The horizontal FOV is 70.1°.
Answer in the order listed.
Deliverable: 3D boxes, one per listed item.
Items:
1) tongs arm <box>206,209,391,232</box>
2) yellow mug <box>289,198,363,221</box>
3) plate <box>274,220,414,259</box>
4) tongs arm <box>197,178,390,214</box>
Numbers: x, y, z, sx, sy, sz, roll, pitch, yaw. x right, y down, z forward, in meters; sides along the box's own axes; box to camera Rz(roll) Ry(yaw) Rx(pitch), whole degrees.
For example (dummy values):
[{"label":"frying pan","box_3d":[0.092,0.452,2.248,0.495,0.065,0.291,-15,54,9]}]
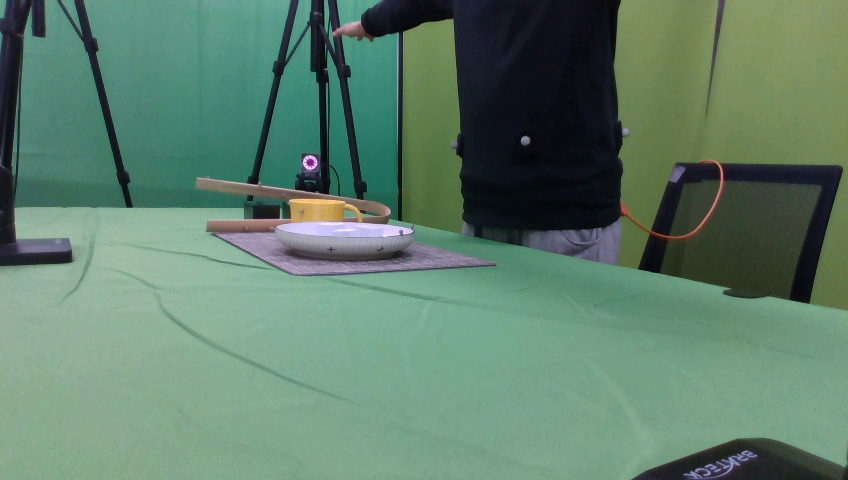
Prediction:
[{"label":"tongs arm","box_3d":[-0.224,-0.037,1.170,0.390,0.028,0.028,-4,31,-36]},{"label":"yellow mug","box_3d":[-0.174,-0.039,1.072,0.131,0.064,0.100,3,7,0]},{"label":"plate","box_3d":[-0.118,-0.001,0.903,0.208,0.039,0.207,3,7,0]},{"label":"tongs arm","box_3d":[-0.256,-0.083,1.229,0.387,0.026,0.050,5,30,-26]}]
